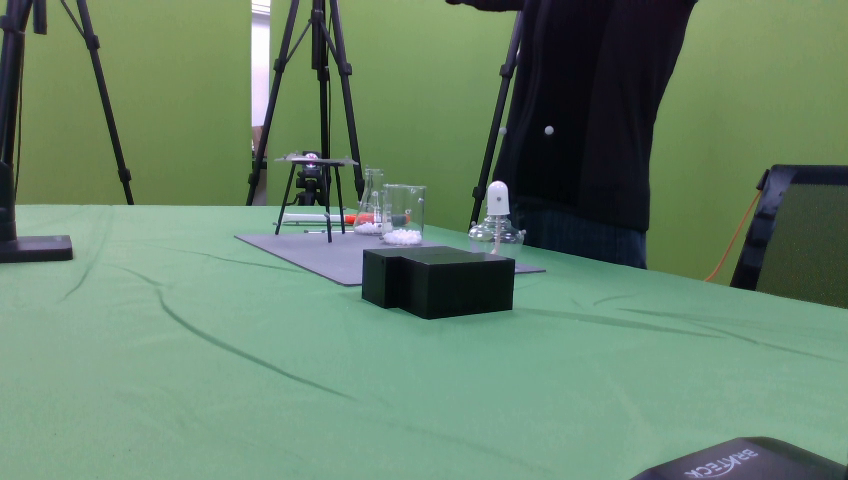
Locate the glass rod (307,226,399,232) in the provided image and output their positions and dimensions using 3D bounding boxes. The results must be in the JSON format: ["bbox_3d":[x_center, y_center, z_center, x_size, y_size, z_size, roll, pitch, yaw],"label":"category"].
[{"bbox_3d":[-0.134,-0.022,1.183,0.201,0.008,0.008,-3,8,-33],"label":"glass rod"}]

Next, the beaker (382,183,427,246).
[{"bbox_3d":[-0.033,-0.044,1.008,0.074,0.100,0.084,6,8,22],"label":"beaker"}]

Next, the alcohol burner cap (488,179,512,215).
[{"bbox_3d":[0.101,-0.058,0.817,0.034,0.048,0.034,-5,8,1],"label":"alcohol burner cap"}]

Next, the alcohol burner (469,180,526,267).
[{"bbox_3d":[0.101,-0.022,0.822,0.078,0.119,0.078,4,8,0],"label":"alcohol burner"}]

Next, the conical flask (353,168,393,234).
[{"bbox_3d":[-0.094,-0.074,1.126,0.075,0.122,0.075,2,7,0],"label":"conical flask"}]

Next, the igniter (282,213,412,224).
[{"bbox_3d":[-0.159,-0.046,1.287,0.278,0.025,0.057,-1,-3,-21],"label":"igniter"}]

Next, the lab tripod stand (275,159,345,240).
[{"bbox_3d":[-0.181,-0.072,1.039,0.148,0.131,0.148,4,8,0],"label":"lab tripod stand"}]

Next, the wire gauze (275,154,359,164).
[{"bbox_3d":[-0.179,-0.137,1.028,0.121,0.011,0.125,4,8,0],"label":"wire gauze"}]
